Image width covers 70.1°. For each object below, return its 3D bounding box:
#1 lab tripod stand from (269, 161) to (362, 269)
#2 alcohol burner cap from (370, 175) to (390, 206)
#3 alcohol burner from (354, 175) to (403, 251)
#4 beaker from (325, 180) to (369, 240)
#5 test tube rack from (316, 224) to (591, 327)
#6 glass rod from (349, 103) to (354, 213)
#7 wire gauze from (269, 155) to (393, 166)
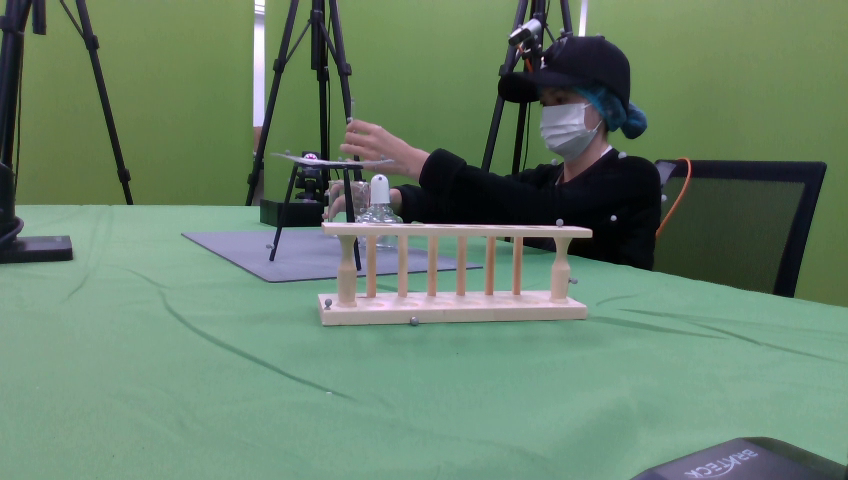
[{"bbox_3d":[-0.125,-0.036,0.794,0.148,0.131,0.148,5,7,0],"label":"lab tripod stand"},{"bbox_3d":[-0.069,-0.077,0.940,0.034,0.048,0.034,-1,6,0],"label":"alcohol burner cap"},{"bbox_3d":[-0.072,-0.042,0.944,0.078,0.119,0.078,1,9,0],"label":"alcohol burner"},{"bbox_3d":[-0.133,-0.052,1.058,0.074,0.100,0.083,-3,10,-36],"label":"beaker"},{"bbox_3d":[0.026,0.028,0.555,0.243,0.085,0.066,1,7,-14],"label":"test tube rack"},{"bbox_3d":[-0.125,-0.134,1.038,0.008,0.199,0.008,2,13,0],"label":"glass rod"},{"bbox_3d":[-0.122,-0.102,0.785,0.122,0.011,0.124,-3,10,-39],"label":"wire gauze"}]
